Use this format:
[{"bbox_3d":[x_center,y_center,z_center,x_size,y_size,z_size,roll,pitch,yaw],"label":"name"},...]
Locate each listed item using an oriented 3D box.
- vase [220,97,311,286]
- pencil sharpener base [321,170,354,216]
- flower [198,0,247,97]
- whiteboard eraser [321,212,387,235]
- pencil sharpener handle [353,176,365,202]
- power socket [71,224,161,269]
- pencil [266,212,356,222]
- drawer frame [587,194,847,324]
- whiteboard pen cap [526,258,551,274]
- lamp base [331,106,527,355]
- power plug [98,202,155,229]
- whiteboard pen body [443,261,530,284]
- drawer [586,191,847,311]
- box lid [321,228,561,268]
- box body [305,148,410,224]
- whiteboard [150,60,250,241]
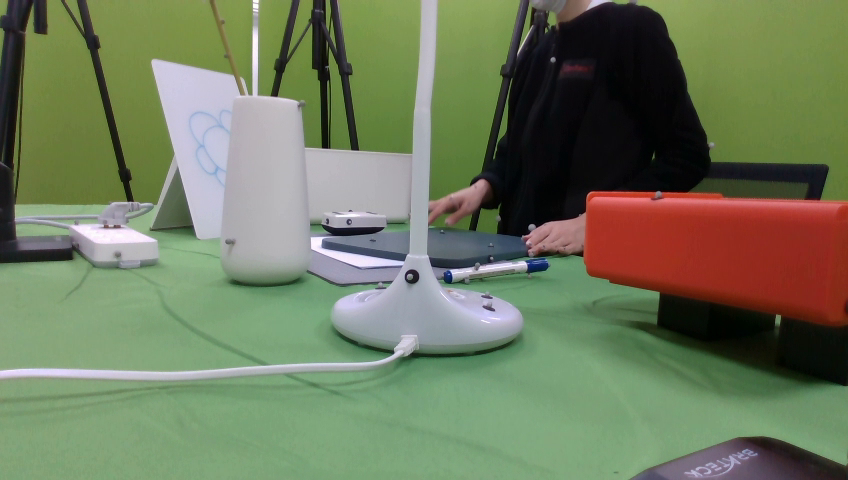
[{"bbox_3d":[-0.172,-0.052,0.662,0.098,0.200,0.098,3,8,0],"label":"vase"},{"bbox_3d":[-0.206,-0.112,1.436,0.077,0.107,0.061,1,6,-10],"label":"pencil sharpener base"},{"bbox_3d":[-0.187,-0.133,0.648,0.038,0.362,0.044,-1,21,43],"label":"flower"},{"bbox_3d":[-0.128,-0.031,1.108,0.113,0.042,0.055,-3,7,-38],"label":"whiteboard eraser"},{"bbox_3d":[-0.155,-0.124,1.447,0.031,0.068,0.036,1,18,-10],"label":"pencil sharpener handle"},{"bbox_3d":[-0.408,0.004,0.793,0.072,0.032,0.225,-2,8,-38],"label":"power socket"},{"bbox_3d":[-0.245,-0.049,1.319,0.195,0.012,0.012,3,7,-13],"label":"pencil"},{"bbox_3d":[0.285,0.004,0.508,0.203,0.082,0.212,-1,6,-29],"label":"drawer frame"},{"bbox_3d":[0.141,0.033,0.759,0.033,0.018,0.018,-7,11,-26],"label":"whiteboard pen cap"},{"bbox_3d":[0.006,-0.012,0.478,0.161,0.180,0.179,2,10,2],"label":"lamp base"},{"bbox_3d":[-0.416,-0.027,0.848,0.073,0.052,0.035,0,8,-28],"label":"power plug"},{"bbox_3d":[0.087,0.037,0.734,0.141,0.017,0.017,-6,10,-27],"label":"whiteboard pen body"},{"bbox_3d":[0.281,0.001,0.513,0.195,0.073,0.210,-1,8,-29],"label":"drawer"},{"bbox_3d":[0.040,0.008,0.996,0.262,0.015,0.373,7,8,34],"label":"box lid"},{"bbox_3d":[-0.230,-0.126,1.371,0.366,0.160,0.253,-2,8,-33],"label":"box body"},{"bbox_3d":[-0.408,-0.139,1.093,0.143,0.305,0.218,-15,-1,26],"label":"whiteboard"}]
